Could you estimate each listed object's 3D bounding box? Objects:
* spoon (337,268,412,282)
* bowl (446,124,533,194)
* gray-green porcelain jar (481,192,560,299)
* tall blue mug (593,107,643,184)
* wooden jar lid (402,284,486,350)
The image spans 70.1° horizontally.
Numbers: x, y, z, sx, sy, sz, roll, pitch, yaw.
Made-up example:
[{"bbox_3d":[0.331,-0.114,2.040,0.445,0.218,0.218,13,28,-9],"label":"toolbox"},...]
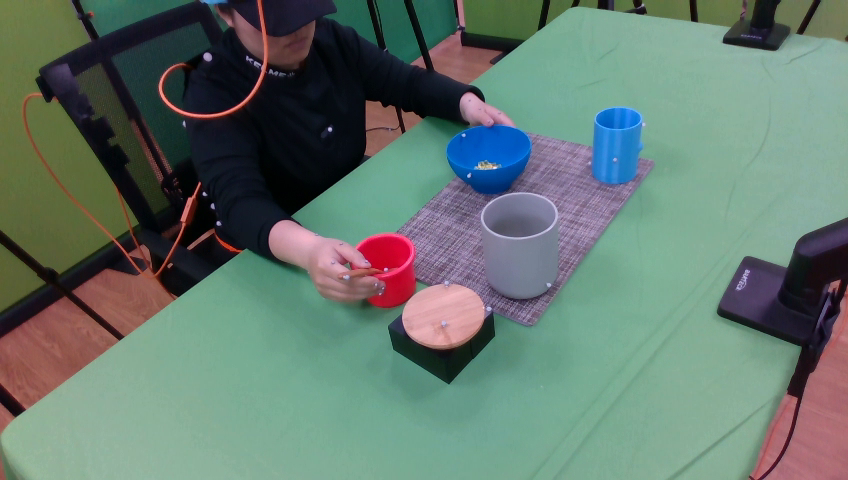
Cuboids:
[{"bbox_3d":[-0.069,0.047,0.849,0.041,0.195,0.021,17,92,23],"label":"spoon"},{"bbox_3d":[0.118,-0.135,1.075,0.151,0.077,0.150,-5,40,5],"label":"bowl"},{"bbox_3d":[0.138,0.012,0.858,0.106,0.127,0.105,-6,40,5],"label":"gray-green porcelain jar"},{"bbox_3d":[0.330,-0.172,1.052,0.078,0.108,0.106,-12,40,-1],"label":"tall blue mug"},{"bbox_3d":[0.026,0.101,0.786,0.108,0.021,0.108,-5,39,4],"label":"wooden jar lid"}]
